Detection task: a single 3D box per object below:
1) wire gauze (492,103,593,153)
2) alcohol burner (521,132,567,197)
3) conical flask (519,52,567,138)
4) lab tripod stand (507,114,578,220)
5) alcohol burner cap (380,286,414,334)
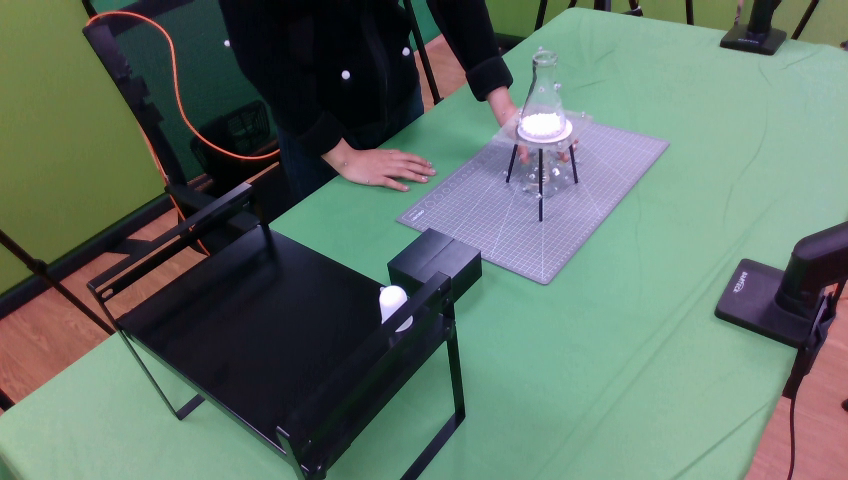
[{"bbox_3d":[0.191,-0.179,0.965,0.120,0.011,0.125,17,49,29],"label":"wire gauze"},{"bbox_3d":[0.203,-0.132,1.025,0.078,0.119,0.077,-5,42,5],"label":"alcohol burner"},{"bbox_3d":[0.183,-0.223,0.926,0.075,0.122,0.075,-4,41,4],"label":"conical flask"},{"bbox_3d":[0.198,-0.128,1.005,0.148,0.132,0.147,-3,42,3],"label":"lab tripod stand"},{"bbox_3d":[-0.029,0.068,0.605,0.034,0.048,0.033,-5,40,4],"label":"alcohol burner cap"}]
